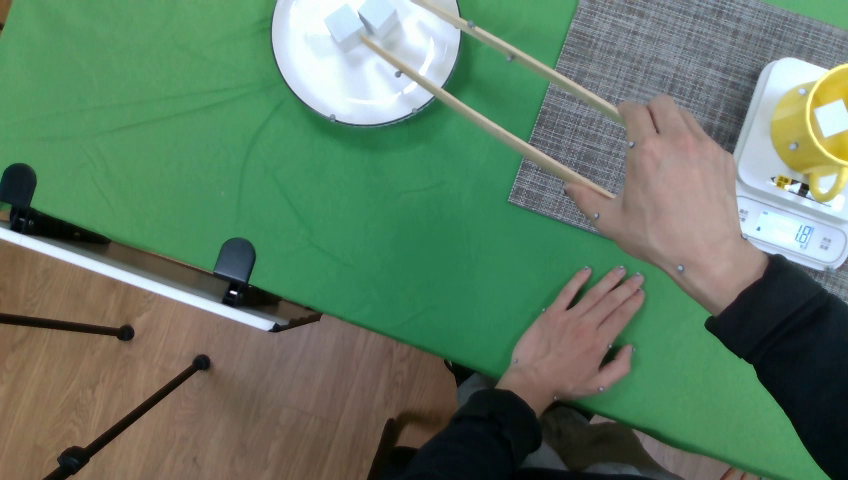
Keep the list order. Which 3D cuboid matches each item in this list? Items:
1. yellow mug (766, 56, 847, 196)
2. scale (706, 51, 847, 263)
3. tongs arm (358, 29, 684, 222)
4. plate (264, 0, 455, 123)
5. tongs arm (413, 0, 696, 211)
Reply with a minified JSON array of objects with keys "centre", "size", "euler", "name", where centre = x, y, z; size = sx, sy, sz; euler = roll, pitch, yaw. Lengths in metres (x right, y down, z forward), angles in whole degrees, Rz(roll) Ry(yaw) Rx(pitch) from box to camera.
[{"centre":[0.403,-0.108,0.599],"size":[0.100,0.064,0.131],"euler":[9,90,2],"name":"yellow mug"},{"centre":[0.403,-0.088,0.646],"size":[0.148,0.031,0.201],"euler":[19,90,3],"name":"scale"},{"centre":[0.059,-0.117,0.549],"size":[0.028,0.028,0.383],"euler":[-49,57,-2],"name":"tongs arm"},{"centre":[-0.069,-0.229,0.669],"size":[0.207,0.039,0.207],"euler":[0,89,2],"name":"plate"},{"centre":[0.084,-0.147,0.546],"size":[0.381,0.027,0.051],"euler":[40,92,33],"name":"tongs arm"}]
